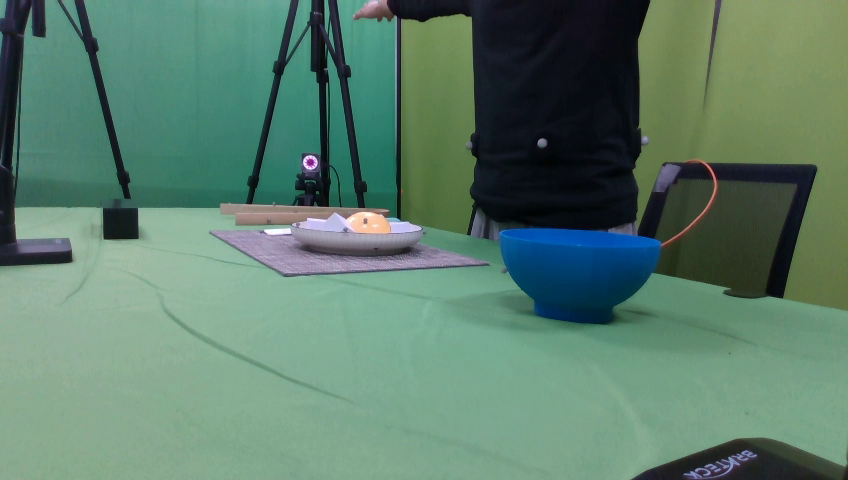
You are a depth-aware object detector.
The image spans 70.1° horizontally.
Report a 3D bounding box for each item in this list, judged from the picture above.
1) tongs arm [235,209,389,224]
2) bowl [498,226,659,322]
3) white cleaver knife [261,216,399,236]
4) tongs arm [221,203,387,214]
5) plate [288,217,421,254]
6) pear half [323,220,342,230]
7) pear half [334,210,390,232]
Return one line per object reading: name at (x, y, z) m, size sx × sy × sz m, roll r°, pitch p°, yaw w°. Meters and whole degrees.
tongs arm at (-0.232, -0.053, 1.347) m, size 0.390 × 0.028 × 0.028 m, roll -3°, pitch 7°, yaw -38°
bowl at (0.145, 0.032, 0.584) m, size 0.151 × 0.077 × 0.151 m, roll 2°, pitch 7°, yaw 0°
white cleaver knife at (-0.169, -0.021, 1.156) m, size 0.288 × 0.021 × 0.065 m, roll -7°, pitch 20°, yaw -33°
tongs arm at (-0.271, -0.067, 1.415) m, size 0.387 × 0.026 × 0.050 m, roll 0°, pitch 9°, yaw -26°
plate at (-0.109, -0.007, 0.956) m, size 0.208 × 0.039 × 0.207 m, roll 2°, pitch 7°, yaw 0°
pear half at (-0.127, -0.019, 1.001) m, size 0.088 × 0.031 × 0.070 m, roll 9°, pitch 4°, yaw 1°
pear half at (-0.107, -0.017, 0.920) m, size 0.110 × 0.056 × 0.076 m, roll -5°, pitch 5°, yaw -20°
